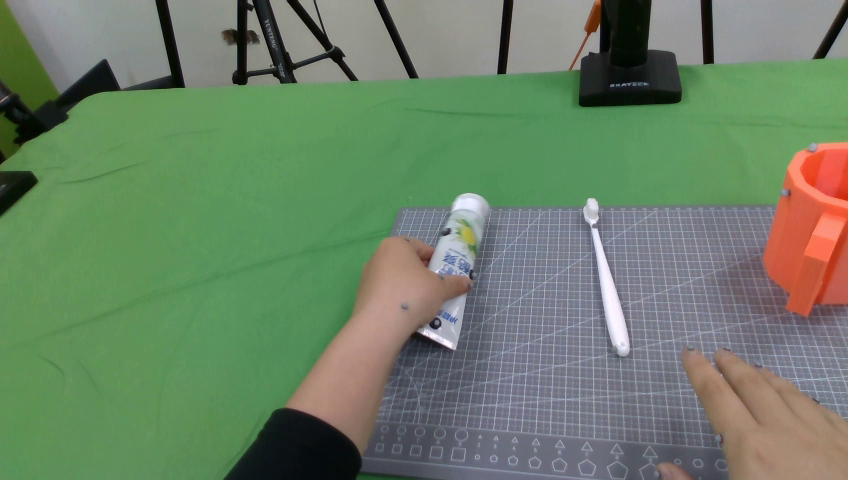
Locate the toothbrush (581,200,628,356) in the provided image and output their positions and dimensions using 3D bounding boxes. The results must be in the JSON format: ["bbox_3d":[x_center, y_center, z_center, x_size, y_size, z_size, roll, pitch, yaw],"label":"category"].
[{"bbox_3d":[0.156,0.025,0.528,0.014,0.017,0.180,7,43,-3],"label":"toothbrush"}]

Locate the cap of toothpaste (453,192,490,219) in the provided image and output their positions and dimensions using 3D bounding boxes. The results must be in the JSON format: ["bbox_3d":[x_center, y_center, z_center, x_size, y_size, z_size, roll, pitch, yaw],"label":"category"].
[{"bbox_3d":[0.048,-0.032,0.600,0.037,0.038,0.011,5,45,17],"label":"cap of toothpaste"}]

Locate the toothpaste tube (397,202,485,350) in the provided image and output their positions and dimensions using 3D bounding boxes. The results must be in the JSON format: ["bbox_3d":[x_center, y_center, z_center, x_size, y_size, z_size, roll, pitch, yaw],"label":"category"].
[{"bbox_3d":[0.023,0.021,0.548,0.055,0.035,0.164,25,47,-4],"label":"toothpaste tube"}]

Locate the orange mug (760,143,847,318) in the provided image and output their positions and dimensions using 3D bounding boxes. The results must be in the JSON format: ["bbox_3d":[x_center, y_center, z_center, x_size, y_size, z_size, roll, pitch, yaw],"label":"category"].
[{"bbox_3d":[0.308,-0.003,0.461,0.083,0.102,0.126,23,47,34],"label":"orange mug"}]
